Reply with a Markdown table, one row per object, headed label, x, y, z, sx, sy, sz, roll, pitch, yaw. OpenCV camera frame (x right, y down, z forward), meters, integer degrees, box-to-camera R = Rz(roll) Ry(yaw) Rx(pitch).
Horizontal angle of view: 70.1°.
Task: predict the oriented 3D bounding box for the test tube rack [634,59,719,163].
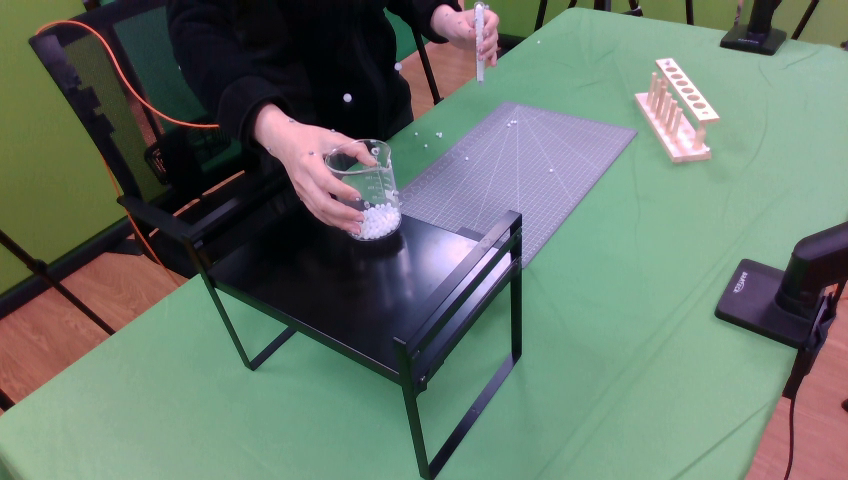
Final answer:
| label | x | y | z | sx | sy | sz | roll | pitch | yaw |
| --- | --- | --- | --- | --- | --- | --- | --- | --- | --- |
| test tube rack | 0.470 | -0.250 | 1.148 | 0.067 | 0.085 | 0.241 | -6 | 40 | 3 |

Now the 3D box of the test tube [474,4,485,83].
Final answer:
| label | x | y | z | sx | sy | sz | roll | pitch | yaw |
| --- | --- | --- | --- | --- | --- | --- | --- | --- | --- |
| test tube | 0.090 | -0.314 | 0.977 | 0.017 | 0.151 | 0.017 | -3 | 56 | 5 |

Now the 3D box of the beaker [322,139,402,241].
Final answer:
| label | x | y | z | sx | sy | sz | roll | pitch | yaw |
| --- | --- | --- | --- | --- | --- | --- | --- | --- | --- |
| beaker | -0.065 | -0.055 | 0.696 | 0.083 | 0.101 | 0.074 | 17 | 45 | 30 |
